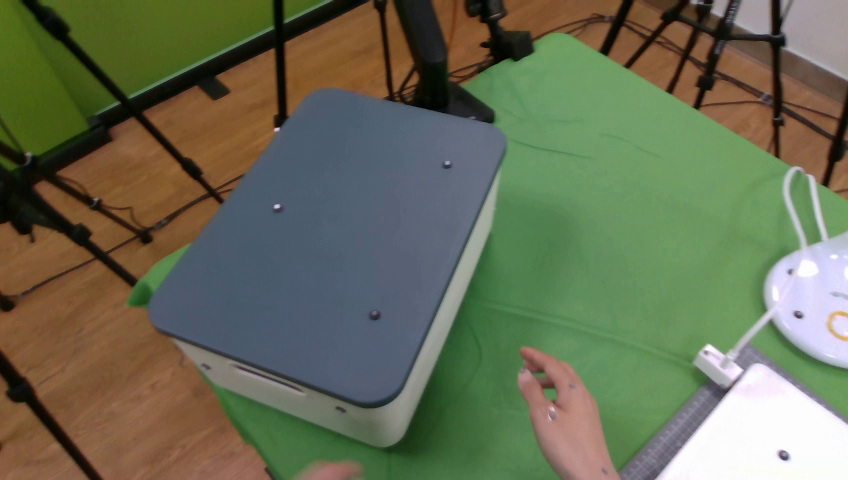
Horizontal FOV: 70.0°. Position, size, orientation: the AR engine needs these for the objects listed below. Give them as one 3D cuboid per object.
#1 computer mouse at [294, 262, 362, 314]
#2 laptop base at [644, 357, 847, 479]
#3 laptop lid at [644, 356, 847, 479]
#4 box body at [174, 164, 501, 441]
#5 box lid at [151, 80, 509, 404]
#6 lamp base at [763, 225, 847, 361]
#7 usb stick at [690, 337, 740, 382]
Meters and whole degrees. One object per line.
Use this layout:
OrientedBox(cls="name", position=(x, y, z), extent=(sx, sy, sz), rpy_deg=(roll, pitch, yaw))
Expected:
OrientedBox(cls="computer mouse", position=(-0.115, 0.052, 0.736), extent=(0.063, 0.041, 0.116), rpy_deg=(-8, 14, 6))
OrientedBox(cls="laptop base", position=(0.403, 0.299, 0.569), extent=(0.235, 0.023, 0.351), rpy_deg=(-39, 62, -20))
OrientedBox(cls="laptop lid", position=(0.400, 0.294, 0.559), extent=(0.241, 0.013, 0.353), rpy_deg=(-37, 61, -20))
OrientedBox(cls="box body", position=(-0.080, 0.015, 0.700), extent=(0.253, 0.162, 0.362), rpy_deg=(17, 56, 13))
OrientedBox(cls="box lid", position=(-0.081, -0.030, 0.641), extent=(0.262, 0.015, 0.369), rpy_deg=(17, 57, 13))
OrientedBox(cls="lamp base", position=(0.492, 0.017, 0.674), extent=(0.160, 0.182, 0.177), rpy_deg=(7, 52, 7))
OrientedBox(cls="usb stick", position=(0.328, 0.138, 0.673), extent=(0.021, 0.027, 0.058), rpy_deg=(-31, 62, -25))
